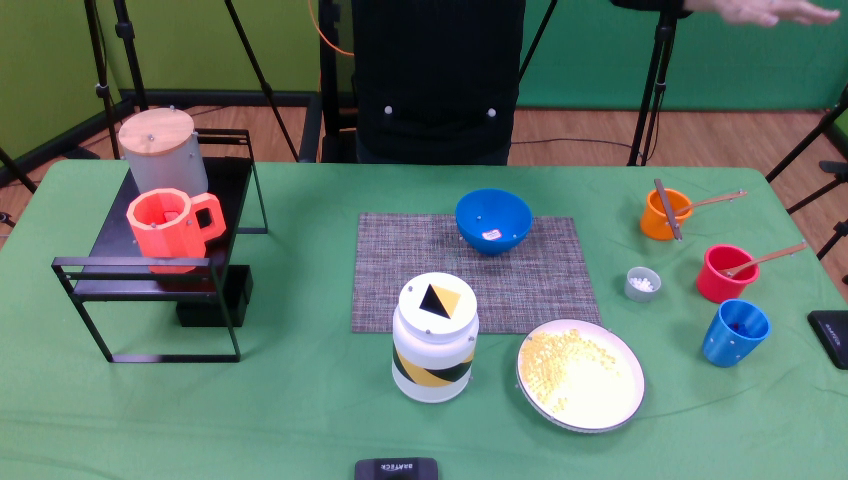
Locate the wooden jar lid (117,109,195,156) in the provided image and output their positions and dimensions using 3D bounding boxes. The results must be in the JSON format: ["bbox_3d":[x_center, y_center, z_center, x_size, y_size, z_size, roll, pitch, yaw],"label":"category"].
[{"bbox_3d":[-0.400,-0.159,0.910,0.108,0.021,0.107,2,47,-2],"label":"wooden jar lid"}]

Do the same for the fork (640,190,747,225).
[{"bbox_3d":[0.533,-0.065,1.211,0.207,0.019,0.028,-22,28,39],"label":"fork"}]

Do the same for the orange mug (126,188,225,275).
[{"bbox_3d":[-0.357,-0.020,0.885,0.126,0.101,0.083,-29,54,-23],"label":"orange mug"}]

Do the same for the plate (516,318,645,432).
[{"bbox_3d":[0.253,0.221,0.992,0.209,0.038,0.208,2,46,-2],"label":"plate"}]

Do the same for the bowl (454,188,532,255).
[{"bbox_3d":[0.131,-0.025,1.187,0.151,0.077,0.150,3,46,-2],"label":"bowl"}]

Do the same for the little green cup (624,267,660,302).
[{"bbox_3d":[0.405,0.084,1.135,0.061,0.039,0.061,3,46,-3],"label":"little green cup"}]

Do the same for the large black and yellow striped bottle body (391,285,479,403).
[{"bbox_3d":[0.015,0.153,0.938,0.131,0.185,0.130,2,46,-2],"label":"large black and yellow striped bottle body"}]

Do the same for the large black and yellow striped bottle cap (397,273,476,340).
[{"bbox_3d":[0.018,0.094,0.878,0.115,0.019,0.114,3,46,-3],"label":"large black and yellow striped bottle cap"}]

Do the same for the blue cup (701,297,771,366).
[{"bbox_3d":[0.519,0.162,1.025,0.093,0.101,0.092,3,45,-3],"label":"blue cup"}]

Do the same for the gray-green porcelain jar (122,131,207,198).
[{"bbox_3d":[-0.404,-0.116,0.955,0.106,0.127,0.105,3,46,-3],"label":"gray-green porcelain jar"}]

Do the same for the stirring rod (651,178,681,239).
[{"bbox_3d":[0.479,-0.065,1.204,0.014,0.006,0.175,3,46,-4],"label":"stirring rod"}]

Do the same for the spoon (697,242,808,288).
[{"bbox_3d":[0.602,0.045,1.116,0.194,0.022,0.041,-29,33,30],"label":"spoon"}]
